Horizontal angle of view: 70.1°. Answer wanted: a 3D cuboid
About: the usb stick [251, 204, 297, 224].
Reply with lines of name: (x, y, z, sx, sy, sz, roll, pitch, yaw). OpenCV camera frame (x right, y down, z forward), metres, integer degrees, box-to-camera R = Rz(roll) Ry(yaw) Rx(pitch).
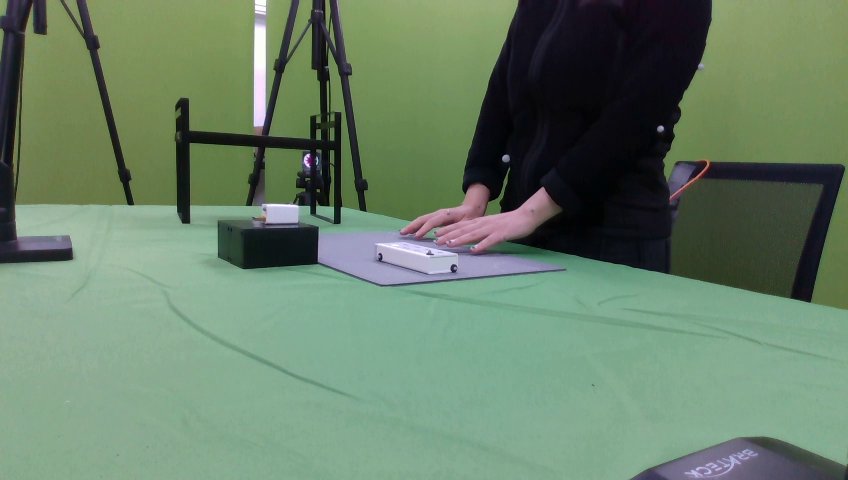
usb stick: (-0.200, -0.035, 0.805, 0.059, 0.027, 0.021, -6, 13, -34)

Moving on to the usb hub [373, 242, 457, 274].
usb hub: (-0.014, 0.021, 0.799, 0.050, 0.025, 0.124, -4, 9, -37)
